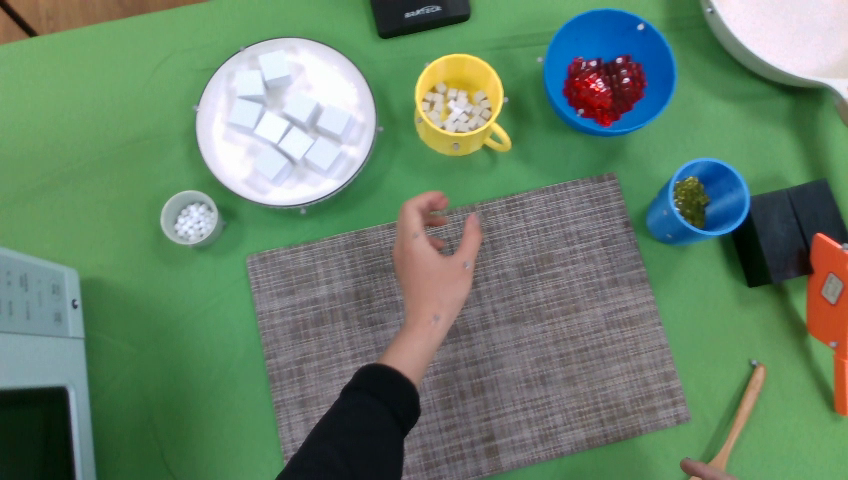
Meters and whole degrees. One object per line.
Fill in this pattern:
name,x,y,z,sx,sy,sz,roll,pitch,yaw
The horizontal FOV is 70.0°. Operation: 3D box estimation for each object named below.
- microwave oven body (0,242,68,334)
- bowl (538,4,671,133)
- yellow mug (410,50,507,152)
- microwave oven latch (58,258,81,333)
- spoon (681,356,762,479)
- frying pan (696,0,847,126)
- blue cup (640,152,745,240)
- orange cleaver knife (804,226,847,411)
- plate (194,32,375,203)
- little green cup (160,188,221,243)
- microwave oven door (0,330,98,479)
microwave oven body,-0.503,0.239,0.518,0.326,0.261,0.440,-10,81,-4
bowl,0.202,-0.189,0.716,0.151,0.077,0.151,0,80,-2
yellow mug,0.046,-0.152,0.710,0.130,0.064,0.100,39,81,4
microwave oven latch,-0.392,0.060,0.652,0.030,0.029,0.079,-10,81,-4
spoon,0.338,0.215,0.676,0.041,0.022,0.193,29,80,15
frying pan,0.484,-0.228,0.719,0.307,0.103,0.484,-8,72,-2
blue cup,0.291,-0.041,0.680,0.093,0.100,0.092,1,78,-3
orange cleaver knife,0.451,0.089,0.673,0.012,0.076,0.212,-14,109,-4
plate,-0.161,-0.142,0.715,0.208,0.039,0.207,0,80,-2
little green cup,-0.262,-0.025,0.689,0.061,0.039,0.061,0,80,-2
microwave oven door,-0.351,0.254,0.516,0.039,0.244,0.354,-11,80,-3
